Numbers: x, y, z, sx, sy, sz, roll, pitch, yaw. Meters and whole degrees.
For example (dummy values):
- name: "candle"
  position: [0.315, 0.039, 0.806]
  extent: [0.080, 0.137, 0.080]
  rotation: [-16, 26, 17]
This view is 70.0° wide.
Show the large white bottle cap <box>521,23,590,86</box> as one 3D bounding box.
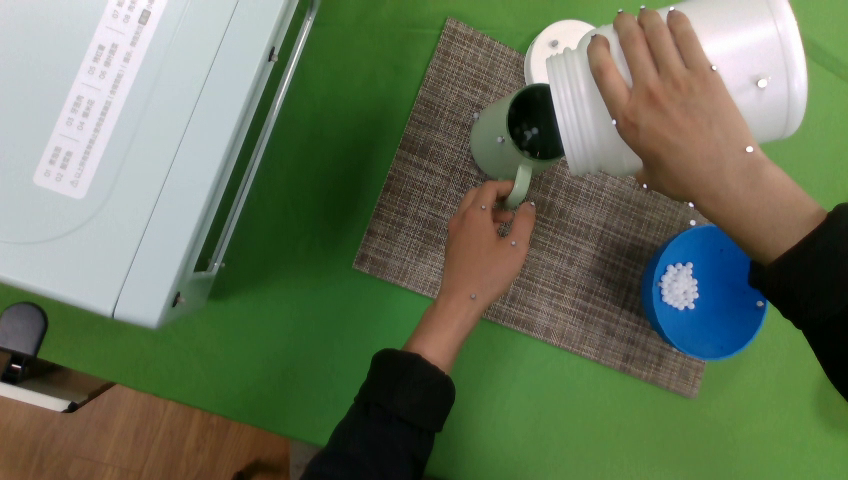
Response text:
- name: "large white bottle cap"
  position: [0.169, -0.195, 0.707]
  extent: [0.115, 0.018, 0.114]
  rotation: [2, 84, -15]

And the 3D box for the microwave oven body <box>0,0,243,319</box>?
- name: "microwave oven body"
  position: [-0.268, -0.198, 0.471]
  extent: [0.327, 0.259, 0.440]
  rotation: [21, 84, -13]

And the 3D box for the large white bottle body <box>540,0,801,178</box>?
- name: "large white bottle body"
  position: [0.202, -0.128, 0.521]
  extent: [0.184, 0.131, 0.130]
  rotation: [-13, 91, 16]

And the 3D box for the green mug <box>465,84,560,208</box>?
- name: "green mug"
  position: [0.096, -0.095, 0.641]
  extent: [0.093, 0.104, 0.125]
  rotation: [13, 84, -14]

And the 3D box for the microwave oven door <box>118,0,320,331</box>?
- name: "microwave oven door"
  position: [-0.147, -0.108, 0.495]
  extent: [0.039, 0.243, 0.355]
  rotation: [20, 83, -12]

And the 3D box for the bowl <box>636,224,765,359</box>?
- name: "bowl"
  position: [0.304, 0.059, 0.703]
  extent: [0.152, 0.076, 0.151]
  rotation: [1, 87, -14]
